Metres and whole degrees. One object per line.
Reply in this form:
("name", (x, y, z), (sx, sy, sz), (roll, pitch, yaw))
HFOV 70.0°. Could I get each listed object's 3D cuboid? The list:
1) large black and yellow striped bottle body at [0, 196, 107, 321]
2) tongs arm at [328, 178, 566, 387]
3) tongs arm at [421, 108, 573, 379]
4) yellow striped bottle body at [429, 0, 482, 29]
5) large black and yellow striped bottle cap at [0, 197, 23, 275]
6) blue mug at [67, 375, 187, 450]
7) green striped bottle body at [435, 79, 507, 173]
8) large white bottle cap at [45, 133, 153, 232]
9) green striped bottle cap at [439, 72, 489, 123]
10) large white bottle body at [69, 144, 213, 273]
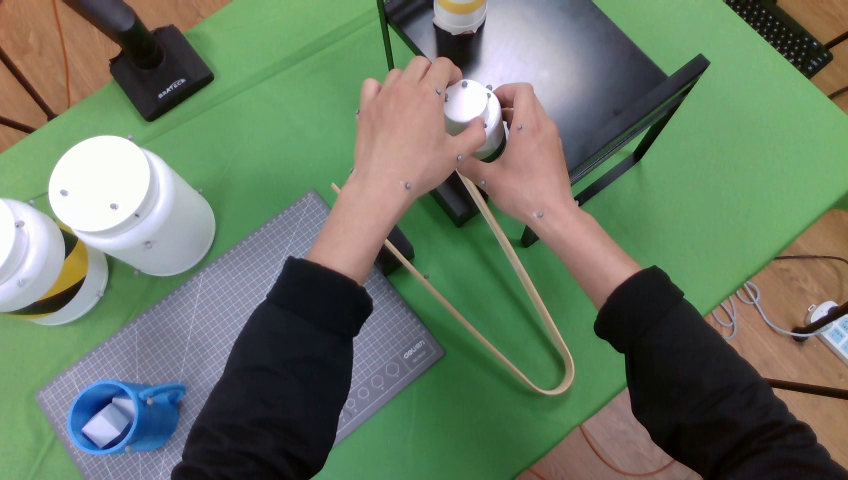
("large black and yellow striped bottle body", (-0.499, 0.024, 0.744), (0.131, 0.185, 0.130), (0, 74, 2))
("tongs arm", (0.028, 0.050, 0.763), (0.051, 0.026, 0.384), (-43, 90, -11))
("tongs arm", (0.092, 0.001, 0.776), (0.028, 0.028, 0.387), (-29, 88, -14))
("yellow striped bottle body", (0.035, -0.292, 0.660), (0.063, 0.121, 0.062), (0, 74, 2))
("large black and yellow striped bottle cap", (-0.503, -0.001, 0.664), (0.115, 0.019, 0.114), (0, 75, 0))
("blue mug", (-0.344, 0.199, 0.730), (0.116, 0.106, 0.082), (-31, 75, -7))
("green striped bottle body", (0.048, -0.116, 0.604), (0.063, 0.120, 0.063), (-3, 75, 11))
("large white bottle cap", (-0.363, -0.066, 0.676), (0.115, 0.018, 0.114), (0, 74, 1))
("green striped bottle cap", (0.036, -0.130, 0.555), (0.044, 0.020, 0.044), (-2, 81, 14))
("large white bottle body", (-0.359, -0.041, 0.758), (0.130, 0.185, 0.130), (0, 73, 2))
